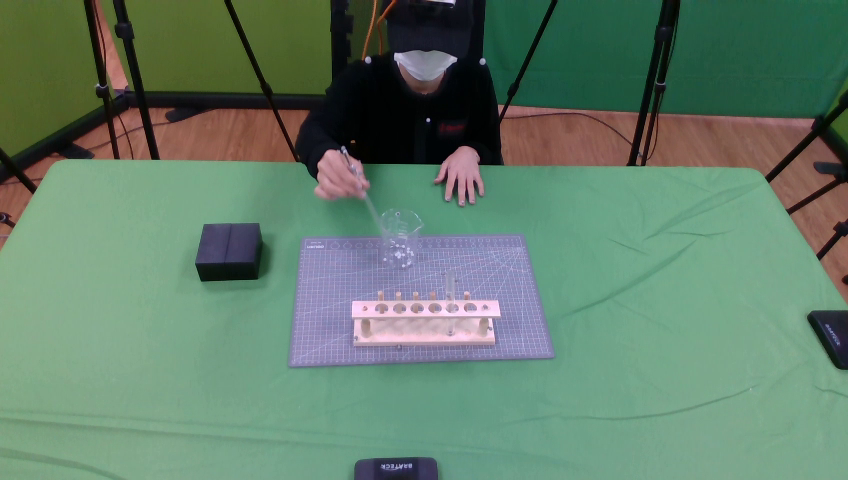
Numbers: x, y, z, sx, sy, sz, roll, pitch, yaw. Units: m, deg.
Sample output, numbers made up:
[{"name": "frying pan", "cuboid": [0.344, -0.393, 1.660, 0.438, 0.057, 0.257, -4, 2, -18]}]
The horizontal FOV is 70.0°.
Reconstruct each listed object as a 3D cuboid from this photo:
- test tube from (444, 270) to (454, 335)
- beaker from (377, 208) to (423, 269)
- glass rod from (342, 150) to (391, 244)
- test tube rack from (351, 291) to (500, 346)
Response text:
[{"name": "test tube", "cuboid": [0.041, 0.105, 0.983, 0.017, 0.151, 0.017, -1, 44, 1]}, {"name": "beaker", "cuboid": [-0.046, 0.000, 1.138, 0.084, 0.101, 0.073, 3, 46, -3]}, {"name": "glass rod", "cuboid": [-0.087, -0.062, 0.944, 0.008, 0.201, 0.008, -12, 43, 12]}, {"name": "test tube rack", "cuboid": [0.000, 0.129, 1.026, 0.242, 0.085, 0.066, 0, 46, -4]}]
